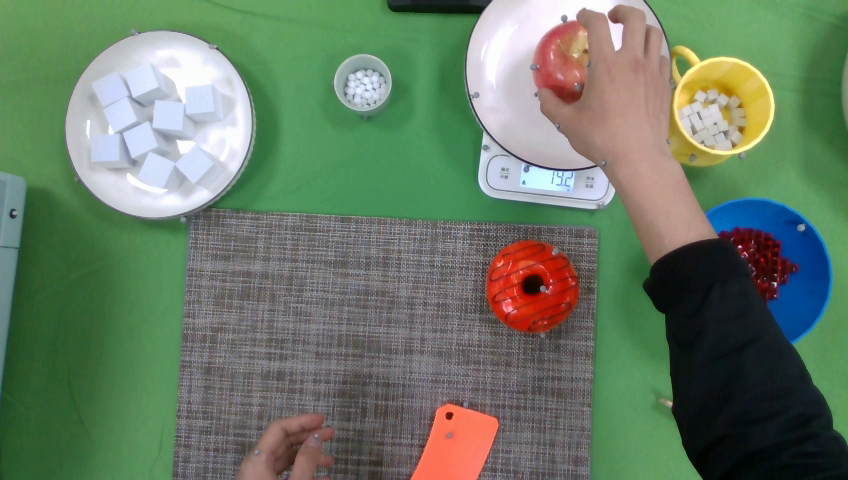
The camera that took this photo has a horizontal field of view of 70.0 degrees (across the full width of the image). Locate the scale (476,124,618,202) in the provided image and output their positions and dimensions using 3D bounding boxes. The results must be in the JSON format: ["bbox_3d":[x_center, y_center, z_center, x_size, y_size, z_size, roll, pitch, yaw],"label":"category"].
[{"bbox_3d":[0.139,-0.147,0.654,0.148,0.031,0.200,7,88,3],"label":"scale"}]

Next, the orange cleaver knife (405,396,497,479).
[{"bbox_3d":[0.003,0.262,0.644,0.077,0.012,0.211,32,87,-4],"label":"orange cleaver knife"}]

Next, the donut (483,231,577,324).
[{"bbox_3d":[0.110,0.039,0.637,0.099,0.048,0.099,0,87,4],"label":"donut"}]

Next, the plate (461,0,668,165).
[{"bbox_3d":[0.141,-0.179,0.622,0.209,0.038,0.209,0,88,1],"label":"plate"}]

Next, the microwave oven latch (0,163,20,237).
[{"bbox_3d":[-0.457,-0.043,0.650,0.030,0.029,0.079,8,89,2],"label":"microwave oven latch"}]

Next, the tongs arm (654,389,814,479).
[{"bbox_3d":[0.407,0.266,0.630,0.387,0.028,0.028,33,81,3],"label":"tongs arm"}]

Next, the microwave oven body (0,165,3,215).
[{"bbox_3d":[-0.625,0.114,0.553,0.326,0.260,0.441,5,88,2],"label":"microwave oven body"}]

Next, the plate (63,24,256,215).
[{"bbox_3d":[-0.284,-0.129,0.666,0.207,0.039,0.207,0,88,2],"label":"plate"}]

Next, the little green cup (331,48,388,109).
[{"bbox_3d":[-0.067,-0.173,0.659,0.061,0.038,0.061,0,87,2],"label":"little green cup"}]

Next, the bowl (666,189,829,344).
[{"bbox_3d":[0.313,0.027,0.618,0.151,0.077,0.151,0,89,3],"label":"bowl"}]

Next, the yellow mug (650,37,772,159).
[{"bbox_3d":[0.287,-0.153,0.631,0.100,0.064,0.130,-30,86,2],"label":"yellow mug"}]

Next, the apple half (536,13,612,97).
[{"bbox_3d":[0.153,-0.187,0.596,0.053,0.075,0.080,-42,84,-3],"label":"apple half"}]

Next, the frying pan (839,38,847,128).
[{"bbox_3d":[0.606,-0.071,0.597,0.307,0.103,0.485,-24,79,2],"label":"frying pan"}]

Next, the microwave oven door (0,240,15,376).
[{"bbox_3d":[-0.484,0.170,0.541,0.039,0.244,0.355,5,88,3],"label":"microwave oven door"}]

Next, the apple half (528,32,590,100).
[{"bbox_3d":[0.124,-0.161,0.595,0.033,0.081,0.081,-42,86,-3],"label":"apple half"}]
